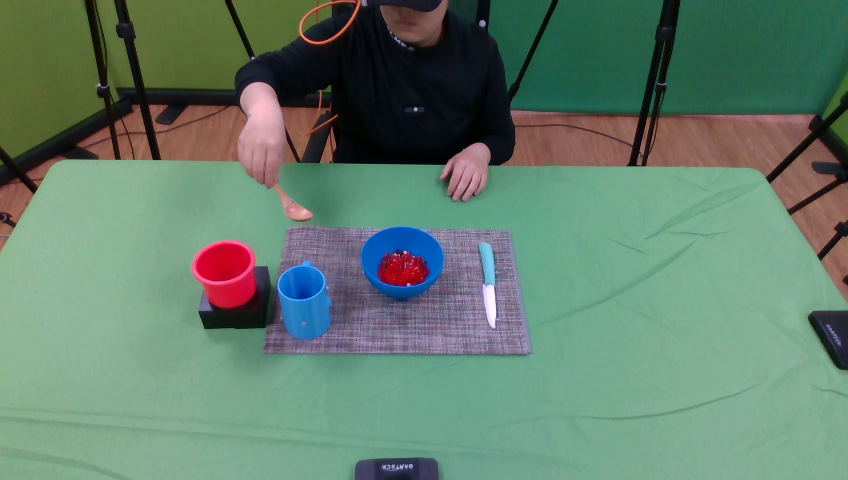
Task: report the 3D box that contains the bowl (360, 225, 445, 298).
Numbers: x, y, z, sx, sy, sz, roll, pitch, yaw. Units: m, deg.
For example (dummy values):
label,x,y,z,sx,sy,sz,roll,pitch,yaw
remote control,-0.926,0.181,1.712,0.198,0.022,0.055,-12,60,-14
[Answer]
label,x,y,z,sx,sy,sz,roll,pitch,yaw
bowl,-0.040,0.053,1.099,0.151,0.077,0.150,2,46,-2

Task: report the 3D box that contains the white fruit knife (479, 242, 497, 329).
label,x,y,z,sx,sy,sz,roll,pitch,yaw
white fruit knife,0.122,0.080,1.130,0.027,0.016,0.206,-19,45,19

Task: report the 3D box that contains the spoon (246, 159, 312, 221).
label,x,y,z,sx,sy,sz,roll,pitch,yaw
spoon,-0.257,-0.090,1.057,0.041,0.022,0.192,-21,55,-37

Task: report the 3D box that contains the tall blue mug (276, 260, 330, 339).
label,x,y,z,sx,sy,sz,roll,pitch,yaw
tall blue mug,-0.208,0.094,1.025,0.078,0.108,0.106,-21,51,-21
